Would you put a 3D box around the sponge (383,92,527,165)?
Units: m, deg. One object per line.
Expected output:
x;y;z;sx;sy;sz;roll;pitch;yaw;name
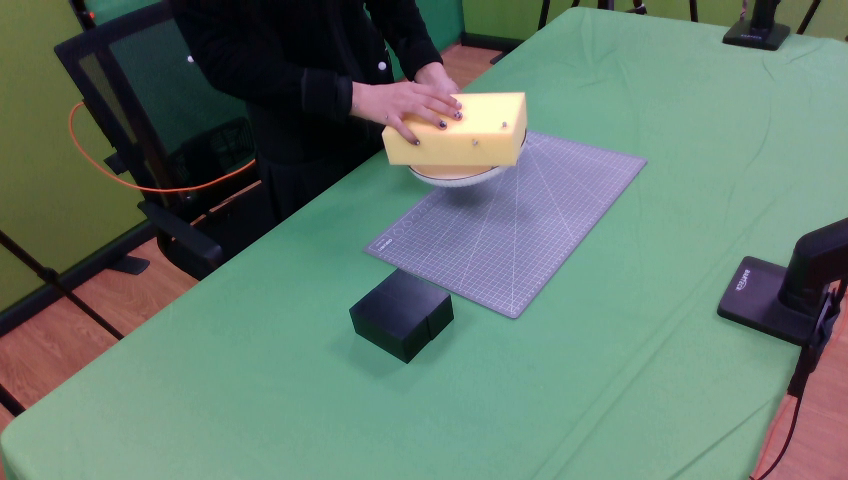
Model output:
0.053;-0.178;0.963;0.206;0.061;0.118;2;44;15;sponge

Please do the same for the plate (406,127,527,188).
0.070;-0.154;1.013;0.209;0.038;0.208;-9;44;10;plate
